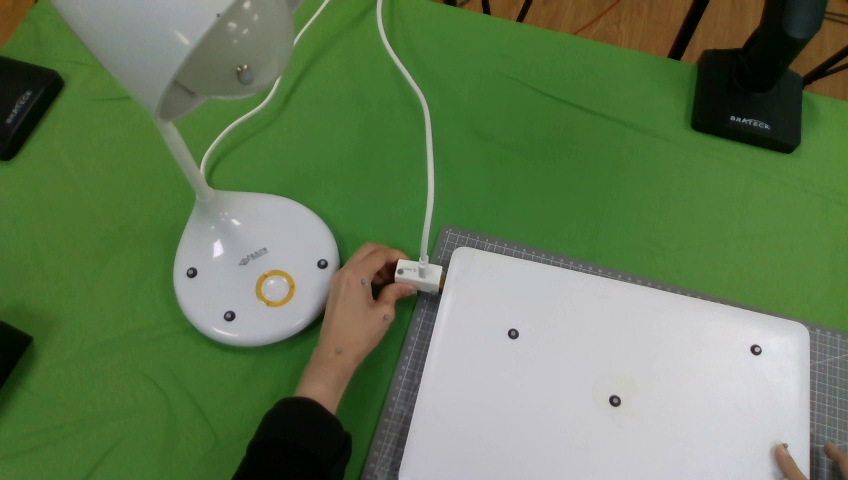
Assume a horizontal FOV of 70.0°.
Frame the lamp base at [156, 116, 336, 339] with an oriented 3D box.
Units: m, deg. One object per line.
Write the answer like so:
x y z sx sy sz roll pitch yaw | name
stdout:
-0.176 -0.019 0.536 0.178 0.181 0.160 41 70 18 | lamp base

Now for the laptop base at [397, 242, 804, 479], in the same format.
0.171 0.144 0.564 0.354 0.023 0.234 13 69 3 | laptop base

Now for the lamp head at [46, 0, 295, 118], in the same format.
-0.120 -0.130 0.256 0.123 0.112 0.112 41 69 -9 | lamp head

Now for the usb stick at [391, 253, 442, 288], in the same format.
-0.002 0.032 0.594 0.059 0.027 0.021 12 60 -1 | usb stick

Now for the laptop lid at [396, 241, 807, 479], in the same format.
0.171 0.141 0.552 0.356 0.013 0.240 14 69 4 | laptop lid
